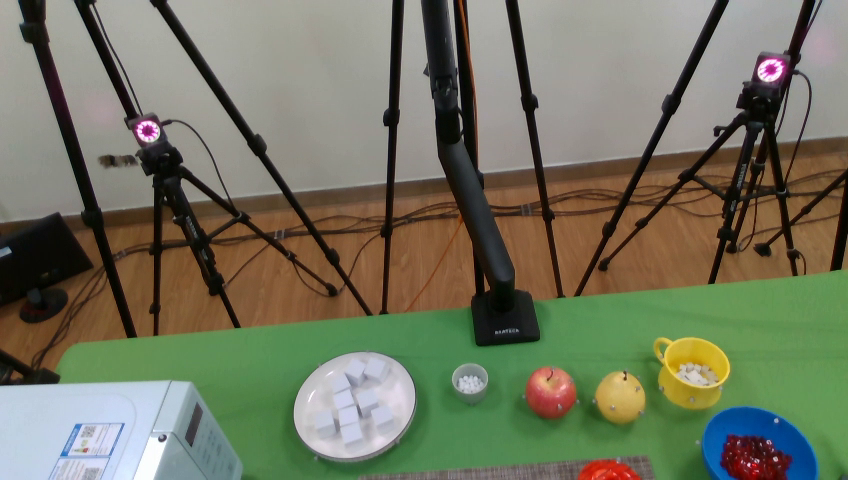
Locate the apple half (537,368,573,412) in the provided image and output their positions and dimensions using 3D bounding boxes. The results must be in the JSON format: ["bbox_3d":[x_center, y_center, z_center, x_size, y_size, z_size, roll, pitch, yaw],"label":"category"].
[{"bbox_3d":[0.219,0.251,0.979,0.081,0.082,0.032,-35,46,-26],"label":"apple half"}]

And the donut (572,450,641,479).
[{"bbox_3d":[0.264,0.353,0.881,0.099,0.049,0.098,-5,44,5],"label":"donut"}]

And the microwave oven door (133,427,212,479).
[{"bbox_3d":[-0.319,0.436,0.705,0.039,0.246,0.352,-3,43,4],"label":"microwave oven door"}]

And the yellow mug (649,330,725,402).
[{"bbox_3d":[0.429,0.199,1.011,0.100,0.064,0.129,-29,46,-20],"label":"yellow mug"}]

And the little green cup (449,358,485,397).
[{"bbox_3d":[0.076,0.238,1.038,0.061,0.039,0.061,-4,43,4],"label":"little green cup"}]

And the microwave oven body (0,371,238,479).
[{"bbox_3d":[-0.463,0.419,0.749,0.326,0.263,0.437,-3,44,4],"label":"microwave oven body"}]

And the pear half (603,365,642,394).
[{"bbox_3d":[0.323,0.223,0.984,0.070,0.089,0.031,14,49,27],"label":"pear half"}]

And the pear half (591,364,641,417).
[{"bbox_3d":[0.301,0.238,0.956,0.076,0.111,0.056,16,47,28],"label":"pear half"}]

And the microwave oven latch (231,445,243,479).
[{"bbox_3d":[-0.302,0.359,0.932,0.030,0.030,0.078,-1,44,6],"label":"microwave oven latch"}]

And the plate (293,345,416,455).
[{"bbox_3d":[-0.115,0.272,1.028,0.207,0.039,0.205,-4,43,4],"label":"plate"}]

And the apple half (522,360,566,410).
[{"bbox_3d":[0.193,0.234,1.001,0.081,0.075,0.053,-37,47,-24],"label":"apple half"}]

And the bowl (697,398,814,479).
[{"bbox_3d":[0.468,0.314,0.877,0.151,0.077,0.150,-4,44,4],"label":"bowl"}]
